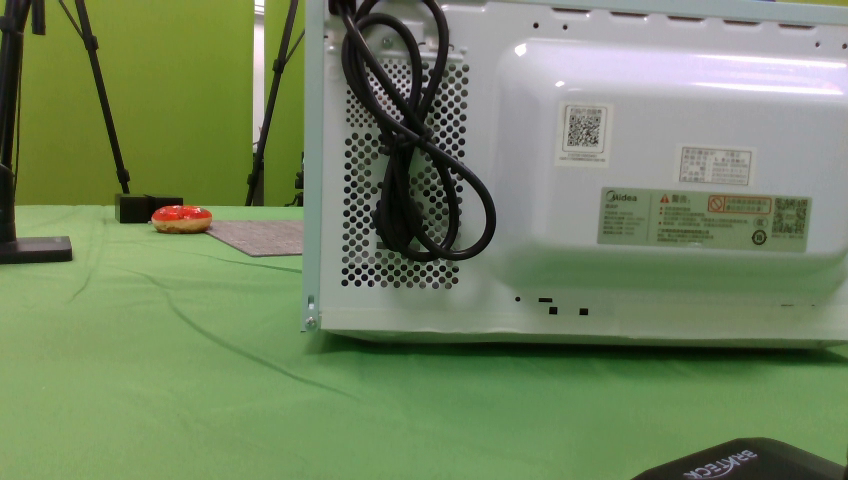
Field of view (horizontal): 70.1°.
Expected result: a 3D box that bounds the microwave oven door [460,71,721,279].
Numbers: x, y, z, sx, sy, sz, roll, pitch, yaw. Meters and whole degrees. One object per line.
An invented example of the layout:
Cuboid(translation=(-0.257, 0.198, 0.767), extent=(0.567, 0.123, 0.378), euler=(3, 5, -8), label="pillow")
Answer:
Cuboid(translation=(0.202, -0.092, 0.821), extent=(0.354, 0.243, 0.039), euler=(8, 9, 42), label="microwave oven door")

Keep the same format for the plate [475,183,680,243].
Cuboid(translation=(0.159, -0.030, 0.639), extent=(0.208, 0.039, 0.207), euler=(-3, 11, 1), label="plate")

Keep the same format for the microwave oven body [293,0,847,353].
Cuboid(translation=(0.122, -0.055, 0.550), extent=(0.442, 0.260, 0.325), euler=(3, 7, -5), label="microwave oven body")

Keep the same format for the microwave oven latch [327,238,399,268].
Cuboid(translation=(-0.069, 0.015, 0.694), extent=(0.079, 0.029, 0.030), euler=(3, 7, -3), label="microwave oven latch")

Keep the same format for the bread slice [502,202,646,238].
Cuboid(translation=(0.162, -0.021, 0.632), extent=(0.105, 0.019, 0.131), euler=(-15, 9, -34), label="bread slice")

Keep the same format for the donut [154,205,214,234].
Cuboid(translation=(-0.426, -0.037, 1.075), extent=(0.099, 0.048, 0.099), euler=(2, 12, 0), label="donut")
